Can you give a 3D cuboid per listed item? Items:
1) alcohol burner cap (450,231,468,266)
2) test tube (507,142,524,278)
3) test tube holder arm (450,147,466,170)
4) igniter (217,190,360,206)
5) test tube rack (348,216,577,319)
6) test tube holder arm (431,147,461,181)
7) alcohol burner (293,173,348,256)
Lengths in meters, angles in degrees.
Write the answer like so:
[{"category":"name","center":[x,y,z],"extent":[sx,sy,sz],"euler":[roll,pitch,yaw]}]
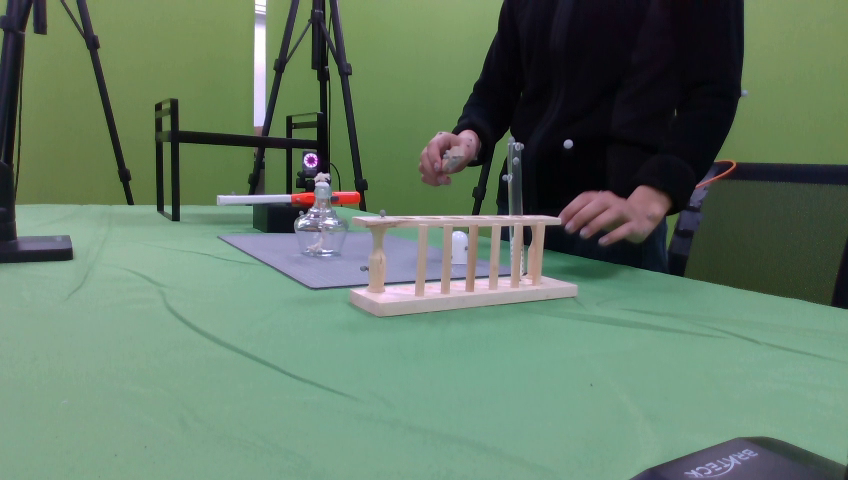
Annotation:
[{"category":"alcohol burner cap","center":[0.046,0.011,0.838],"extent":[0.034,0.048,0.034],"euler":[3,6,0]},{"category":"test tube","center":[0.101,-0.032,0.666],"extent":[0.017,0.150,0.017],"euler":[-2,6,1]},{"category":"test tube holder arm","center":[0.043,-0.110,0.820],"extent":[0.010,0.015,0.087],"euler":[8,-6,-9]},{"category":"igniter","center":[-0.248,-0.080,1.150],"extent":[0.278,0.025,0.057],"euler":[-5,8,-29]},{"category":"test tube rack","center":[0.048,0.021,0.619],"extent":[0.244,0.085,0.066],"euler":[-2,8,-31]},{"category":"test tube holder arm","center":[0.030,-0.107,0.863],"extent":[0.013,0.015,0.178],"euler":[8,-6,-10]},{"category":"alcohol burner","center":[-0.147,-0.036,0.859],"extent":[0.078,0.119,0.078],"euler":[4,8,0]}]
